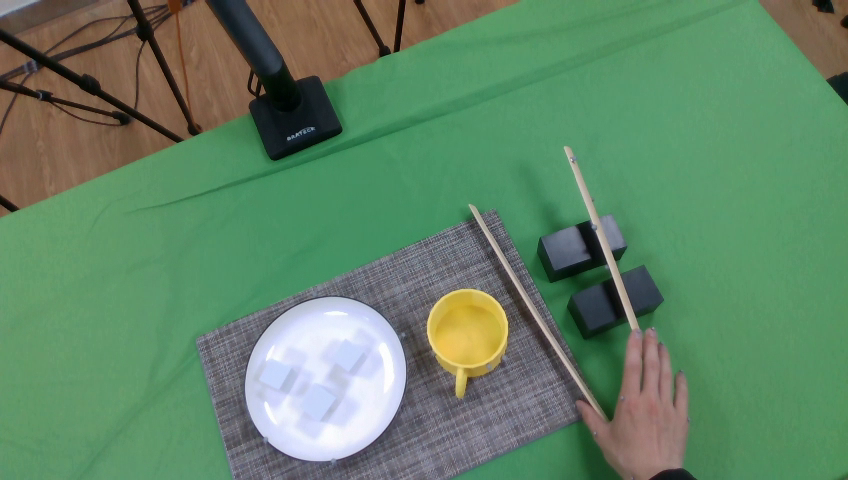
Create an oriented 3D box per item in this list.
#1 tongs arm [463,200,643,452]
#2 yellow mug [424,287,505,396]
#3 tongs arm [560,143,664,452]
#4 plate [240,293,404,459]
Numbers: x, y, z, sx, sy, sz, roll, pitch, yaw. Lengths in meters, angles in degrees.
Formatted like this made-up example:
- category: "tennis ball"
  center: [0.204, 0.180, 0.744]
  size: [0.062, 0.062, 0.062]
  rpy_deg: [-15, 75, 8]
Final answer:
- category: "tongs arm"
  center: [0.153, 0.098, 0.775]
  size: [0.028, 0.028, 0.384]
  rpy_deg: [-36, 68, 13]
- category: "yellow mug"
  center: [0.049, 0.130, 0.757]
  size: [0.100, 0.064, 0.130]
  rpy_deg: [6, 69, 7]
- category: "tongs arm"
  center: [0.219, 0.060, 0.746]
  size: [0.050, 0.027, 0.382]
  rpy_deg: [-24, 73, 21]
- category: "plate"
  center: [-0.127, 0.172, 0.774]
  size: [0.207, 0.039, 0.206]
  rpy_deg: [-2, 69, 5]
